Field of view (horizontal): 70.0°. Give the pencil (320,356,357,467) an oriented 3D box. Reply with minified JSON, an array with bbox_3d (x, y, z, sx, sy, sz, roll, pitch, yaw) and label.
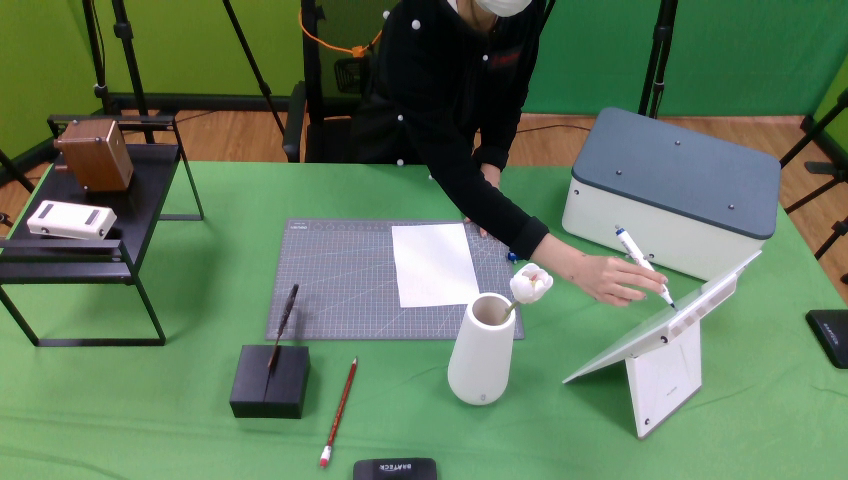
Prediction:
[{"bbox_3d":[-0.130,0.261,0.947,0.012,0.012,0.193,10,45,5],"label":"pencil"}]

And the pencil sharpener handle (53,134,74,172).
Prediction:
[{"bbox_3d":[-0.577,-0.138,0.961,0.031,0.068,0.036,-4,34,-7],"label":"pencil sharpener handle"}]

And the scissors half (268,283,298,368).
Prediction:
[{"bbox_3d":[-0.230,0.135,0.986,0.013,0.040,0.174,19,43,-11],"label":"scissors half"}]

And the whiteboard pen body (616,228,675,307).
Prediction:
[{"bbox_3d":[0.333,0.041,0.909,0.017,0.017,0.140,-30,83,-29],"label":"whiteboard pen body"}]

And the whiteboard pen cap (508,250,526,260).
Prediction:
[{"bbox_3d":[0.181,0.029,1.185,0.033,0.018,0.018,-5,47,-14],"label":"whiteboard pen cap"}]

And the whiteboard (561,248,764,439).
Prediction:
[{"bbox_3d":[0.386,0.176,0.905,0.217,0.306,0.143,-26,72,-27],"label":"whiteboard"}]

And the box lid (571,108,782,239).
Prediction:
[{"bbox_3d":[0.491,-0.139,1.168,0.370,0.015,0.262,21,49,15],"label":"box lid"}]

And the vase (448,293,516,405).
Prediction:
[{"bbox_3d":[0.091,0.169,0.921,0.098,0.201,0.097,3,47,-3],"label":"vase"}]

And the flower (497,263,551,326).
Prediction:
[{"bbox_3d":[0.103,0.121,0.853,0.044,0.363,0.038,-1,64,-9],"label":"flower"}]

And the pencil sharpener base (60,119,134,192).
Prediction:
[{"bbox_3d":[-0.528,-0.135,0.979,0.077,0.107,0.061,-4,47,-7],"label":"pencil sharpener base"}]

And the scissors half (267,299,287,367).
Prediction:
[{"bbox_3d":[-0.238,0.150,0.997,0.013,0.040,0.174,24,24,-13],"label":"scissors half"}]

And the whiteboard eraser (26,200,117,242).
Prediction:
[{"bbox_3d":[-0.532,-0.026,0.919,0.113,0.042,0.055,7,45,3],"label":"whiteboard eraser"}]

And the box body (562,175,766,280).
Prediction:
[{"bbox_3d":[0.486,-0.088,1.222,0.363,0.161,0.253,20,48,15],"label":"box body"}]
